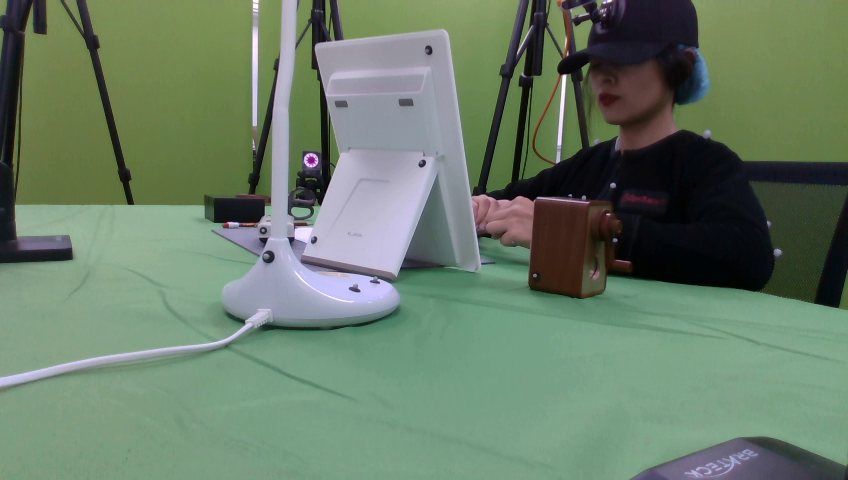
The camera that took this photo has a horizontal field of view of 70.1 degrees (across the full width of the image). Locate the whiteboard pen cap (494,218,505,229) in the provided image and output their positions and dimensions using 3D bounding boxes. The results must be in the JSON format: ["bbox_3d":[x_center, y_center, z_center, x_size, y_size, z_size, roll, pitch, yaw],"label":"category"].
[{"bbox_3d":[0.119,-0.026,0.954,0.018,0.018,0.033,3,2,5],"label":"whiteboard pen cap"}]

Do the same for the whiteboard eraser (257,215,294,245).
[{"bbox_3d":[-0.232,-0.016,0.951,0.056,0.042,0.112,2,7,-12],"label":"whiteboard eraser"}]

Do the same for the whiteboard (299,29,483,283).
[{"bbox_3d":[-0.074,-0.082,0.741,0.216,0.305,0.144,9,30,38],"label":"whiteboard"}]

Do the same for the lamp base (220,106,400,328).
[{"bbox_3d":[-0.101,-0.023,0.531,0.160,0.180,0.179,4,10,10],"label":"lamp base"}]

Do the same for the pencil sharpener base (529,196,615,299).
[{"bbox_3d":[0.168,0.007,0.678,0.076,0.107,0.062,10,10,42],"label":"pencil sharpener base"}]

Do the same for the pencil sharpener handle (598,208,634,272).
[{"bbox_3d":[0.208,0.000,0.645,0.030,0.068,0.036,10,23,42],"label":"pencil sharpener handle"}]

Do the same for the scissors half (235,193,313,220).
[{"bbox_3d":[-0.324,-0.077,1.319,0.176,0.040,0.012,17,6,-32],"label":"scissors half"}]

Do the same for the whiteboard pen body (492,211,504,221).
[{"bbox_3d":[0.125,-0.034,1.013,0.017,0.017,0.141,3,9,3],"label":"whiteboard pen body"}]

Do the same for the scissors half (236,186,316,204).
[{"bbox_3d":[-0.320,-0.097,1.316,0.176,0.040,0.013,-3,11,-29],"label":"scissors half"}]

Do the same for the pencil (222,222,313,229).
[{"bbox_3d":[-0.302,-0.030,1.189,0.195,0.012,0.012,-2,9,-42],"label":"pencil"}]
